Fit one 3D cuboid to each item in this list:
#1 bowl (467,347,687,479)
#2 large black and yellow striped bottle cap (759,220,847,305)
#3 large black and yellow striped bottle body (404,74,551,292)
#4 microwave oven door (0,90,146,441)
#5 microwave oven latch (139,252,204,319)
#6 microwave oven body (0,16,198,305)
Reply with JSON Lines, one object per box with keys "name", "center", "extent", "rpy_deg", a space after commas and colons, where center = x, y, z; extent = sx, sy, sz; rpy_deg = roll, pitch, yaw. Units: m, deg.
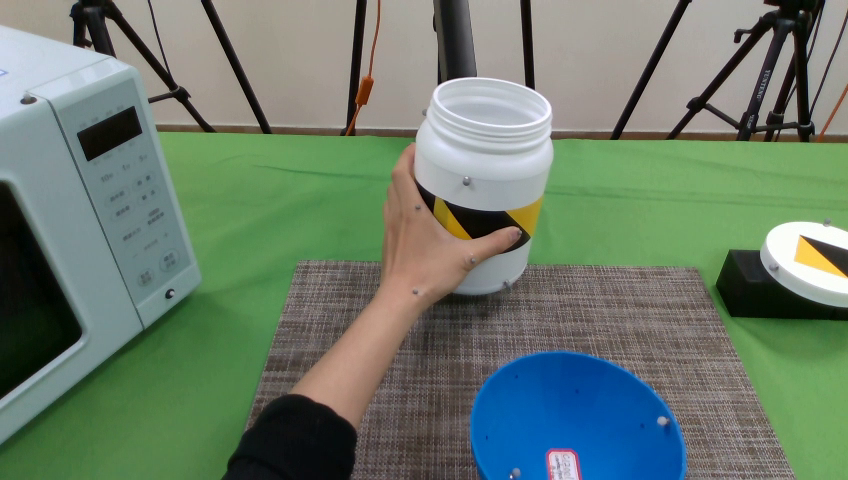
{"name": "bowl", "center": [0.106, 0.161, 0.452], "extent": [0.151, 0.077, 0.150], "rpy_deg": [0, 39, 0]}
{"name": "large black and yellow striped bottle cap", "center": [0.400, 0.020, 0.606], "extent": [0.115, 0.019, 0.114], "rpy_deg": [-1, 38, 1]}
{"name": "large black and yellow striped bottle body", "center": [0.051, -0.055, 0.595], "extent": [0.131, 0.185, 0.129], "rpy_deg": [4, 37, -3]}
{"name": "microwave oven door", "center": [-0.368, 0.080, 0.394], "extent": [0.039, 0.246, 0.354], "rpy_deg": [19, 43, 23]}
{"name": "microwave oven latch", "center": [-0.258, 0.042, 0.607], "extent": [0.030, 0.030, 0.079], "rpy_deg": [21, 44, 23]}
{"name": "microwave oven body", "center": [-0.474, 0.017, 0.481], "extent": [0.324, 0.262, 0.440], "rpy_deg": [20, 43, 22]}
